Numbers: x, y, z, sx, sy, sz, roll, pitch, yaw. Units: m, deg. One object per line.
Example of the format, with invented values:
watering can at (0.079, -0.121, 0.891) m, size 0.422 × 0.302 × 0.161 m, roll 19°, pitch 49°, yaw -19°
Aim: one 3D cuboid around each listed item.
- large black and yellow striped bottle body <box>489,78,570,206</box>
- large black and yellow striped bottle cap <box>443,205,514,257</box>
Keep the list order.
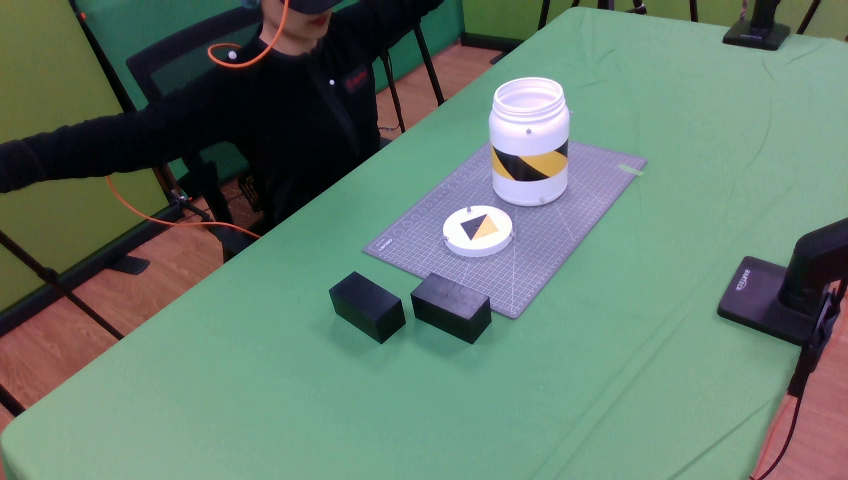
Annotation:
large black and yellow striped bottle body at (0.177, -0.164, 1.012) m, size 0.131 × 0.185 × 0.130 m, roll -5°, pitch 40°, yaw 5°
large black and yellow striped bottle cap at (0.088, -0.016, 0.986) m, size 0.115 × 0.019 × 0.114 m, roll -4°, pitch 41°, yaw 4°
